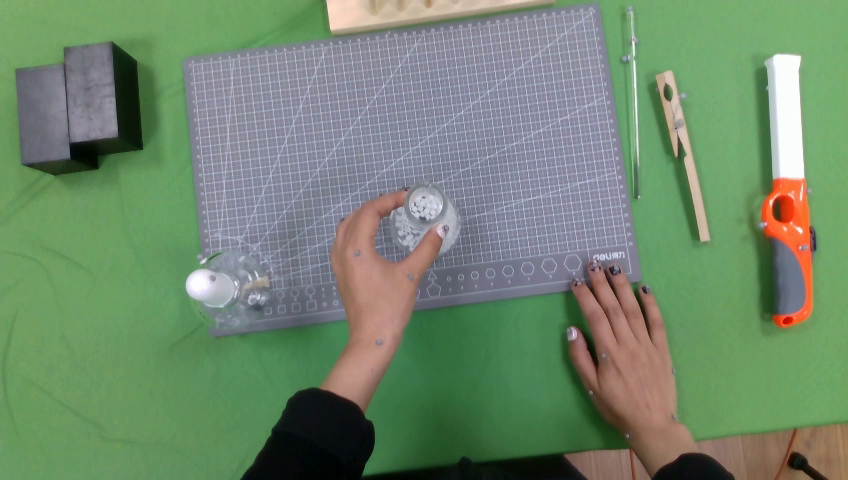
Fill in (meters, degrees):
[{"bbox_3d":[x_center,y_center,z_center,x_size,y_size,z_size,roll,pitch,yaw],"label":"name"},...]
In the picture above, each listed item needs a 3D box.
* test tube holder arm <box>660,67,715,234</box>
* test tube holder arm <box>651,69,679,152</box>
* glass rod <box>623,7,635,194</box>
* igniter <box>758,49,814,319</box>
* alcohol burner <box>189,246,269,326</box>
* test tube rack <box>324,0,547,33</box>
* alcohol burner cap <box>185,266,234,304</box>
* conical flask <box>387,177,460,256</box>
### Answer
[{"bbox_3d":[0.271,-0.093,0.626,0.013,0.015,0.178,-19,84,37],"label":"test tube holder arm"},{"bbox_3d":[0.255,-0.135,0.633,0.010,0.015,0.087,-17,85,37],"label":"test tube holder arm"},{"bbox_3d":[0.216,-0.148,0.638,0.008,0.008,0.199,-1,88,1],"label":"glass rod"},{"bbox_3d":[0.368,-0.058,0.619,0.057,0.025,0.276,1,86,-8],"label":"igniter"},{"bbox_3d":[-0.192,0.043,0.578,0.078,0.119,0.077,0,84,3],"label":"alcohol burner"},{"bbox_3d":[0.012,-0.277,0.615,0.242,0.085,0.066,-8,85,1],"label":"test tube rack"},{"bbox_3d":[-0.194,0.038,0.542,0.034,0.048,0.033,-1,76,3],"label":"alcohol burner cap"},{"bbox_3d":[0.000,-0.027,0.574,0.075,0.122,0.075,0,84,0],"label":"conical flask"}]
